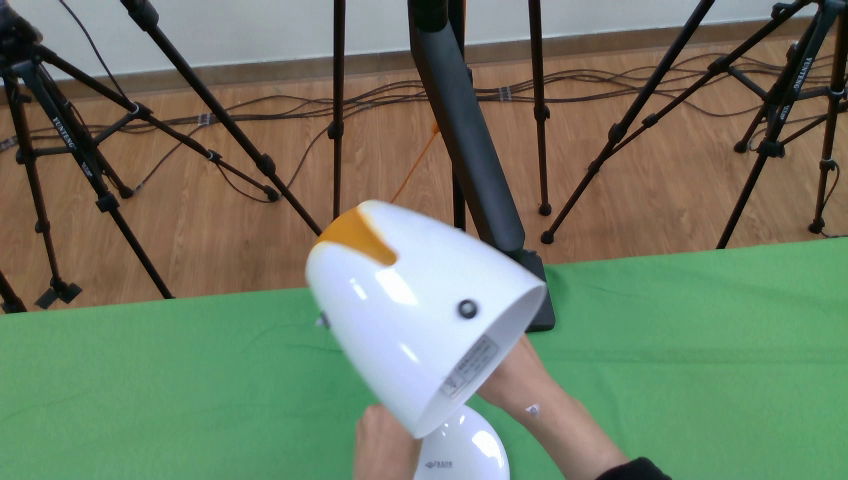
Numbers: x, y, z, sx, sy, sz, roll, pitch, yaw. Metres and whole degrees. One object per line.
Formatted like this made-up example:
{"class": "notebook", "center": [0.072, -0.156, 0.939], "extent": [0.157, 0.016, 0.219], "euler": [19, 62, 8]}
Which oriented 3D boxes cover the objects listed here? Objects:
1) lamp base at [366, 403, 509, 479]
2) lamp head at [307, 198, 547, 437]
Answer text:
{"class": "lamp base", "center": [0.010, 0.205, 0.628], "extent": [0.161, 0.182, 0.177], "euler": [-11, 53, -5]}
{"class": "lamp head", "center": [-0.007, 0.034, 0.355], "extent": [0.122, 0.113, 0.112], "euler": [38, 65, 25]}
